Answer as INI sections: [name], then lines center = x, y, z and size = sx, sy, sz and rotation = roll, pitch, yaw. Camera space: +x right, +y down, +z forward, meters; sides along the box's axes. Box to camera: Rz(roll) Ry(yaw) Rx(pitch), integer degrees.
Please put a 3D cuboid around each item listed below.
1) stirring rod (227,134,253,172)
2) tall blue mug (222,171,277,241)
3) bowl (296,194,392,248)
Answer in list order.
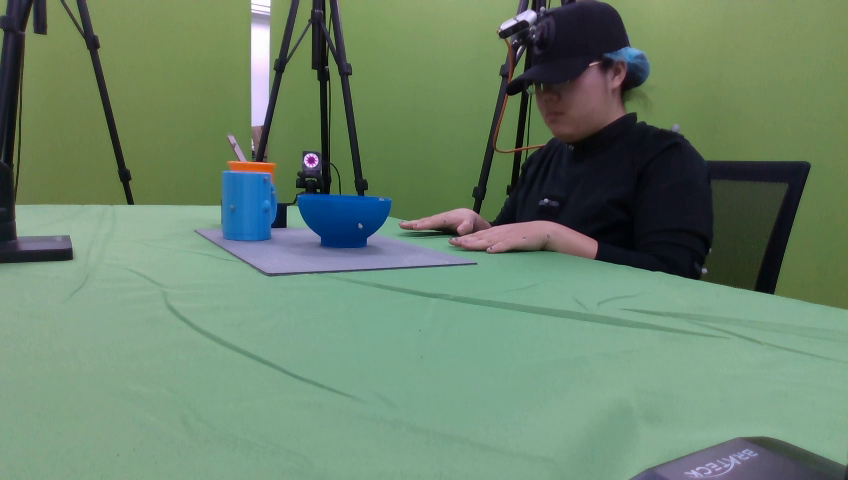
[stirring rod]
center = -0.353, -0.148, 1.197
size = 0.014, 0.006, 0.175
rotation = -4, 51, -46
[tall blue mug]
center = -0.290, -0.059, 1.003
size = 0.078, 0.108, 0.107
rotation = 1, 7, -6
[bowl]
center = -0.128, -0.030, 0.964
size = 0.151, 0.077, 0.151
rotation = 2, 7, 0
